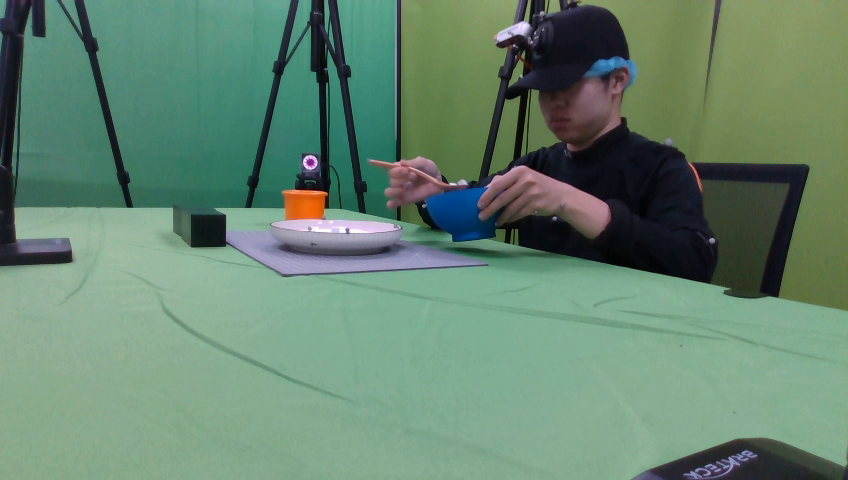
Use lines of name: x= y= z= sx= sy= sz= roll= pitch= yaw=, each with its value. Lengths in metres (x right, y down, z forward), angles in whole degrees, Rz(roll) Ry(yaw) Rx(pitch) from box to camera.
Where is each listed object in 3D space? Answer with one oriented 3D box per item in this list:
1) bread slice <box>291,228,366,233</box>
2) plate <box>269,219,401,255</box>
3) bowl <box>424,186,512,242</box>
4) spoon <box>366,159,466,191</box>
bread slice: x=-0.143 y=-0.003 z=0.953 sx=0.135 sy=0.018 sz=0.106 roll=-1 pitch=8 yaw=-37
plate: x=-0.140 y=-0.006 z=0.958 sx=0.209 sy=0.038 sz=0.209 roll=3 pitch=7 yaw=0
bowl: x=0.078 y=-0.039 z=1.014 sx=0.151 sy=0.076 sz=0.151 roll=-7 pitch=-3 yaw=0
spoon: x=-0.017 y=-0.116 z=1.046 sx=0.193 sy=0.021 sz=0.042 roll=22 pitch=12 yaw=23
